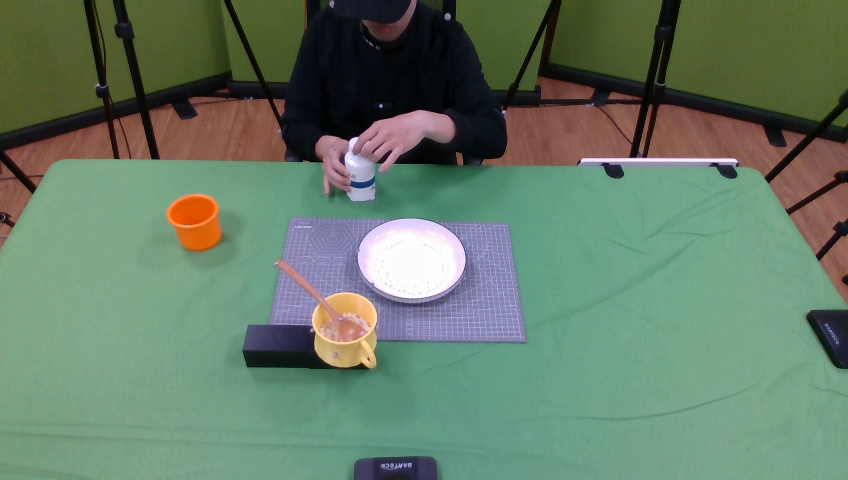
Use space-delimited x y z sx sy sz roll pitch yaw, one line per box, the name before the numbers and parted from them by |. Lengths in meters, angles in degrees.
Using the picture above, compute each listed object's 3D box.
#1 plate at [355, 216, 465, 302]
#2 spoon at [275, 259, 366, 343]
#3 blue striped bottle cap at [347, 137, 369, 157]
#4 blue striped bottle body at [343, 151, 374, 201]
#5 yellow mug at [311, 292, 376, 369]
plate | -0.027 0.039 1.144 0.208 0.039 0.206 2 46 -2
spoon | -0.161 0.098 0.946 0.194 0.021 0.041 48 56 -5
blue striped bottle cap | -0.132 -0.186 1.213 0.044 0.021 0.044 7 44 -7
blue striped bottle body | -0.135 -0.145 1.257 0.063 0.121 0.062 3 47 -2
yellow mug | -0.116 0.150 0.945 0.100 0.064 0.130 -29 57 -28
